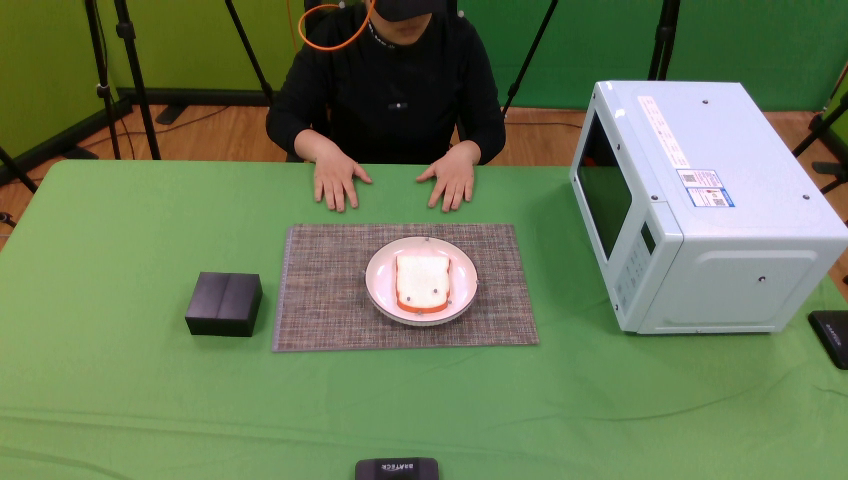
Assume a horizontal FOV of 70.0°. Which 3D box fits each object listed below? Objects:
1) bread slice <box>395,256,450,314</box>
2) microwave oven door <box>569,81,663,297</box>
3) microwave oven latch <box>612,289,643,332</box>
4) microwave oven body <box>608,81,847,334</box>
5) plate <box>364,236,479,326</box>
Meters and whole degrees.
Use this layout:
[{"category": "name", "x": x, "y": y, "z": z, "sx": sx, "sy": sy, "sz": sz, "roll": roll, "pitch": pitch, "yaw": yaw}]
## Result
[{"category": "bread slice", "x": -0.001, "y": 0.079, "z": 1.109, "sx": 0.105, "sy": 0.019, "sz": 0.130, "roll": 1, "pitch": 45, "yaw": -2}, {"category": "microwave oven door", "x": 0.353, "y": -0.104, "z": 1.147, "sx": 0.039, "sy": 0.245, "sz": 0.353, "roll": 0, "pitch": 46, "yaw": -4}, {"category": "microwave oven latch", "x": 0.357, "y": 0.124, "z": 1.068, "sx": 0.030, "sy": 0.029, "sz": 0.078, "roll": 0, "pitch": 45, "yaw": -3}, {"category": "microwave oven body", "x": 0.501, "y": -0.070, "z": 1.132, "sx": 0.326, "sy": 0.261, "sz": 0.438, "roll": -1, "pitch": 45, "yaw": -4}, {"category": "plate", "x": -0.004, "y": 0.078, "z": 1.107, "sx": 0.209, "sy": 0.038, "sz": 0.208, "roll": 2, "pitch": 45, "yaw": -2}]
